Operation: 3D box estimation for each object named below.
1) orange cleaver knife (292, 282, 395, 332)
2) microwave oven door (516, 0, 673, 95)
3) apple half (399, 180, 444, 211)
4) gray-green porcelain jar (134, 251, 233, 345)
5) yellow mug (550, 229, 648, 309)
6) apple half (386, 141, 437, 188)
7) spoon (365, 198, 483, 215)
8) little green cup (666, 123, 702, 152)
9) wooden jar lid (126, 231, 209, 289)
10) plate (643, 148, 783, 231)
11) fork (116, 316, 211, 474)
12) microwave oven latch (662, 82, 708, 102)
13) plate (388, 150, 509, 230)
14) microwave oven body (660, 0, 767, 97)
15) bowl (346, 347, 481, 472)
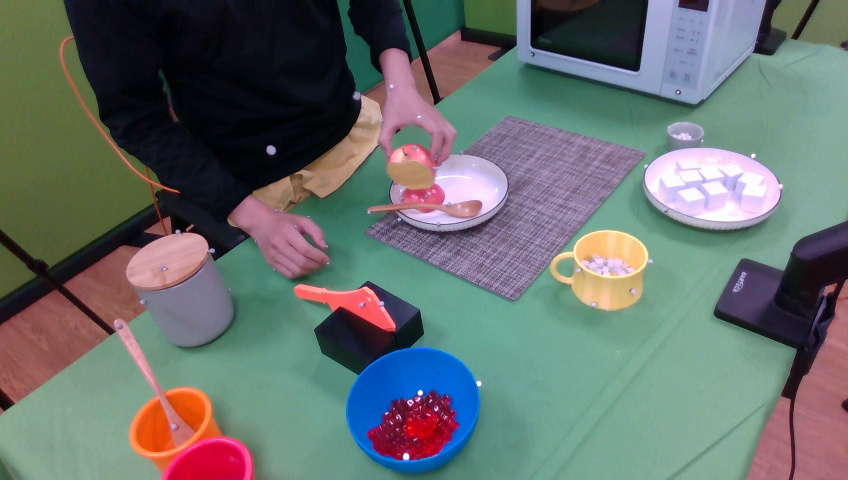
[{"bbox_3d":[-0.116,0.091,0.835,0.209,0.077,0.012,2,32,48],"label":"orange cleaver knife"},{"bbox_3d":[0.344,-0.458,1.256,0.353,0.245,0.039,26,51,33],"label":"microwave oven door"},{"bbox_3d":[-0.003,-0.088,1.046,0.081,0.033,0.081,-2,42,2],"label":"apple half"},{"bbox_3d":[-0.334,0.076,0.849,0.106,0.127,0.105,-4,41,4],"label":"gray-green porcelain jar"},{"bbox_3d":[0.245,0.040,0.857,0.130,0.064,0.099,1,41,11],"label":"yellow mug"},{"bbox_3d":[-0.015,-0.126,0.969,0.080,0.075,0.053,-5,54,30],"label":"apple half"},{"bbox_3d":[0.001,-0.056,0.998,0.194,0.022,0.041,1,41,-8],"label":"spoon"},{"bbox_3d":[0.472,-0.183,1.102,0.061,0.039,0.061,-5,41,5],"label":"little green cup"},{"bbox_3d":[-0.339,0.030,0.808,0.108,0.021,0.108,-5,39,5],"label":"wooden jar lid"},{"bbox_3d":[0.464,-0.079,0.986,0.207,0.039,0.206,-4,40,4],"label":"plate"},{"bbox_3d":[-0.308,0.179,0.708,0.028,0.018,0.207,-30,89,-15],"label":"fork"},{"bbox_3d":[0.517,-0.298,1.203,0.078,0.029,0.030,27,52,34],"label":"microwave oven latch"},{"bbox_3d":[0.044,-0.083,1.042,0.209,0.038,0.208,-4,40,4],"label":"plate"},{"bbox_3d":[0.473,-0.517,1.314,0.438,0.261,0.327,26,51,34],"label":"microwave oven body"},{"bbox_3d":[-0.008,0.205,0.691,0.151,0.077,0.150,-4,40,4],"label":"bowl"}]
